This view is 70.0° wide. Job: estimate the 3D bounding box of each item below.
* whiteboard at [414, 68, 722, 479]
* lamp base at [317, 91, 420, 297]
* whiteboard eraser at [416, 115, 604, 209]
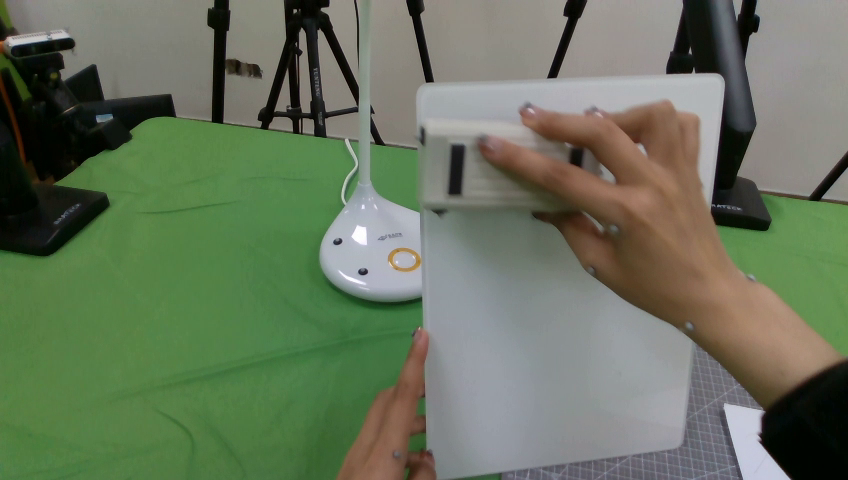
[{"bbox_3d":[0.095,0.017,0.508,0.217,0.307,0.143,-4,18,-8],"label":"whiteboard"},{"bbox_3d":[-0.047,-0.058,0.656,0.161,0.182,0.177,-22,41,-29],"label":"lamp base"},{"bbox_3d":[0.052,-0.048,0.375,0.113,0.056,0.041,-1,20,-9],"label":"whiteboard eraser"}]
